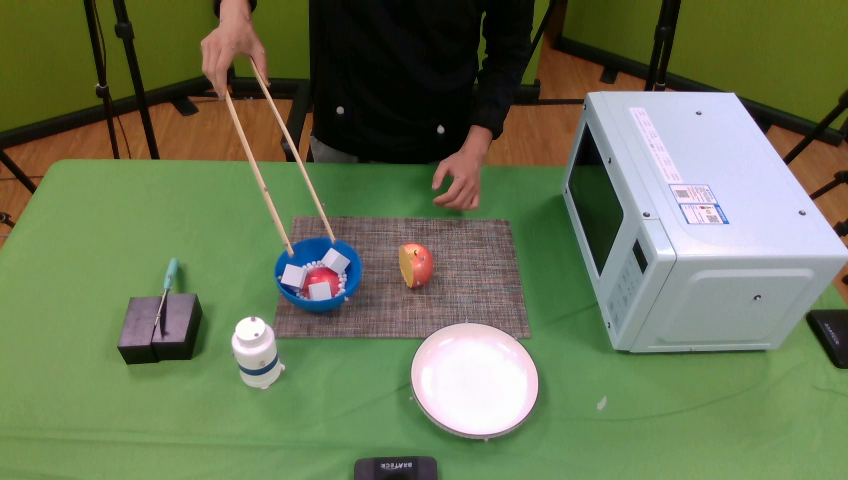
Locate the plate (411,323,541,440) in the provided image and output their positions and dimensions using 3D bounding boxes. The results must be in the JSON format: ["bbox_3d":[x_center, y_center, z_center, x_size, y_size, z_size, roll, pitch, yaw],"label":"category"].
[{"bbox_3d":[0.082,0.228,0.976,0.208,0.039,0.206,2,45,-2],"label":"plate"}]

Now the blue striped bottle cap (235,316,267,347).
[{"bbox_3d":[-0.260,0.136,0.907,0.044,0.021,0.044,2,43,-2],"label":"blue striped bottle cap"}]

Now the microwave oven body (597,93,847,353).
[{"bbox_3d":[0.475,-0.041,1.109,0.326,0.261,0.438,-1,45,-4],"label":"microwave oven body"}]

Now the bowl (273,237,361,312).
[{"bbox_3d":[-0.186,0.074,1.070,0.151,0.077,0.150,3,46,-2],"label":"bowl"}]

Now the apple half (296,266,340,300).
[{"bbox_3d":[-0.186,0.070,1.067,0.081,0.033,0.081,3,47,-3],"label":"apple half"}]

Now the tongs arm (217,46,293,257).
[{"bbox_3d":[-0.275,-0.153,1.013,0.051,0.026,0.383,-22,79,-19],"label":"tongs arm"}]

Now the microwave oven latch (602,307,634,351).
[{"bbox_3d":[0.332,0.153,1.043,0.030,0.029,0.078,0,45,-4],"label":"microwave oven latch"}]

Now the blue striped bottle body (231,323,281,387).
[{"bbox_3d":[-0.262,0.171,0.944,0.063,0.121,0.062,2,46,-2],"label":"blue striped bottle body"}]

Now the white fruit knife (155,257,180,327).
[{"bbox_3d":[-0.440,0.085,1.037,0.016,0.027,0.206,10,26,-19],"label":"white fruit knife"}]

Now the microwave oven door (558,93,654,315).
[{"bbox_3d":[0.327,-0.074,1.123,0.039,0.245,0.353,0,46,-5],"label":"microwave oven door"}]

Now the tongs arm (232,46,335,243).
[{"bbox_3d":[-0.237,-0.167,1.028,0.028,0.028,0.386,-24,80,-16],"label":"tongs arm"}]

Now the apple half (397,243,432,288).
[{"bbox_3d":[-0.013,0.047,1.115,0.053,0.075,0.080,-10,43,-21],"label":"apple half"}]
